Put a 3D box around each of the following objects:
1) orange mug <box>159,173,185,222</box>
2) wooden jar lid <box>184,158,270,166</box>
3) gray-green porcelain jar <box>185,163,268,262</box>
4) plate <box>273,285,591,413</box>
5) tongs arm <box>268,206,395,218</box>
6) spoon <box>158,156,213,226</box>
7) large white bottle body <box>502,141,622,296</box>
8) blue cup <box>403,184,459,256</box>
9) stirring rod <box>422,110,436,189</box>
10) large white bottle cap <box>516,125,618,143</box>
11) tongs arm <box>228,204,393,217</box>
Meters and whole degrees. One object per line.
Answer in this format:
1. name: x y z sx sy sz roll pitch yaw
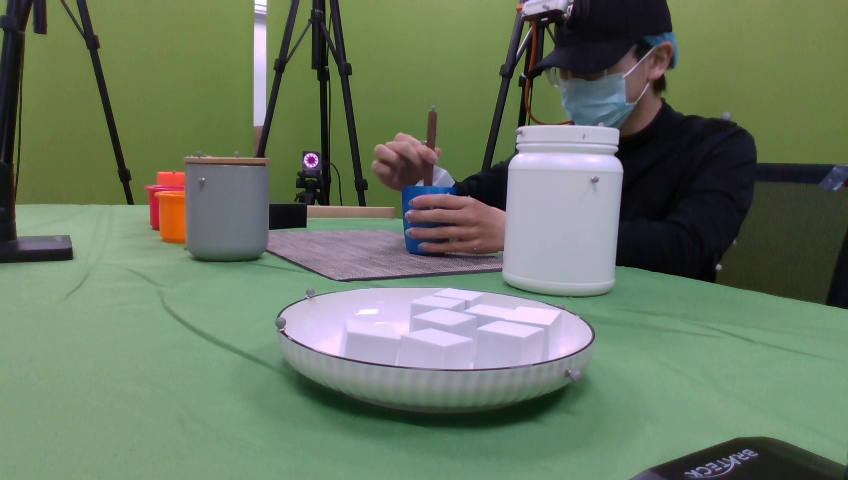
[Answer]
1. orange mug: -0.477 -0.089 1.241 0.127 0.101 0.083 -7 12 -33
2. wooden jar lid: -0.260 -0.099 0.801 0.108 0.020 0.108 0 9 0
3. gray-green porcelain jar: -0.263 -0.038 0.808 0.106 0.126 0.106 3 8 0
4. plate: 0.005 0.069 0.407 0.208 0.039 0.207 2 7 0
5. tongs arm: -0.230 -0.064 1.379 0.387 0.026 0.050 -1 3 -31
6. spoon: -0.435 -0.094 1.121 0.041 0.022 0.193 5 51 13
7. large white bottle body: 0.161 -0.037 0.706 0.131 0.184 0.130 2 7 0
8. blue cup: 0.006 -0.030 0.911 0.093 0.100 0.092 5 9 0
9. stirring rod: 0.006 -0.104 0.895 0.014 0.176 0.006 6 6 25
10. large white bottle cap: 0.163 -0.120 0.695 0.115 0.018 0.115 2 8 0
11. tongs arm: -0.267 -0.070 1.453 0.389 0.027 0.028 0 -1 -18
